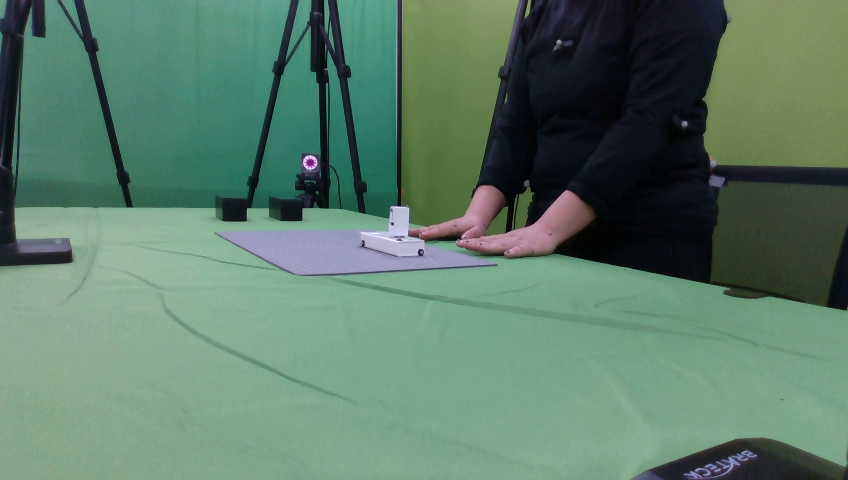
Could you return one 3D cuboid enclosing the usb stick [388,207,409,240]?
[{"bbox_3d":[-0.040,-0.021,0.931,0.027,0.059,0.021,-5,12,-37],"label":"usb stick"}]

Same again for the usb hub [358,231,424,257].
[{"bbox_3d":[-0.054,0.005,0.947,0.050,0.025,0.124,-3,9,-34],"label":"usb hub"}]
